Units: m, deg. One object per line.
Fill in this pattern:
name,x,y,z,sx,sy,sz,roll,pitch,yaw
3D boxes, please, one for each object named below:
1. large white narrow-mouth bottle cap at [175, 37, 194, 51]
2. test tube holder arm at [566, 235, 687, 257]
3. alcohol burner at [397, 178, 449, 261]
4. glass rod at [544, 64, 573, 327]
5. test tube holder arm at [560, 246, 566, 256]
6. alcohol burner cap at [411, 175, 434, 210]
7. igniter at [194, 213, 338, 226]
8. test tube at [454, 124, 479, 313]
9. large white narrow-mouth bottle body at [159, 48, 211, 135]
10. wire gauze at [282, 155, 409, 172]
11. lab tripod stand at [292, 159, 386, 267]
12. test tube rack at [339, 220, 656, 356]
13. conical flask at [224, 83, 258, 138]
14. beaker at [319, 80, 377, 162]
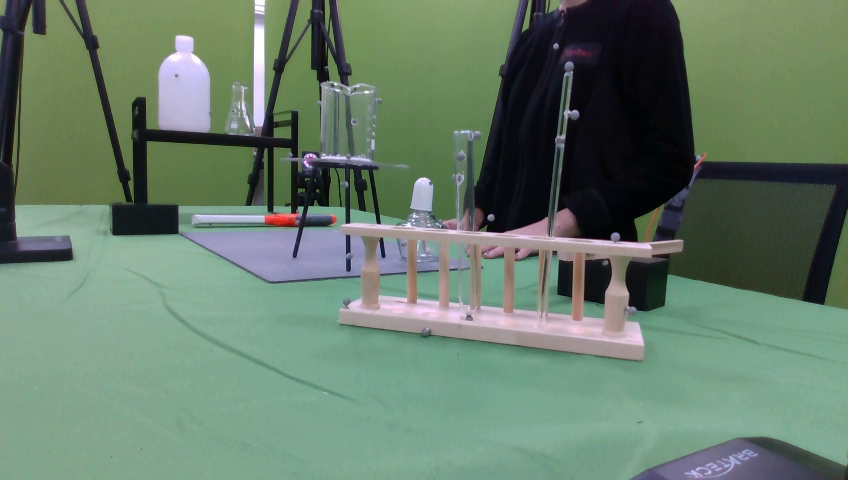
large white narrow-mouth bottle cap,-0.501,-0.409,1.264,0.038,0.024,0.037,2,7,0
test tube holder arm,0.215,0.006,0.630,0.179,0.015,0.013,-3,9,-30
alcohol burner,-0.002,-0.031,0.846,0.078,0.119,0.078,0,6,0
glass rod,0.101,-0.028,0.453,0.008,0.199,0.008,2,14,0
test tube holder arm,0.173,0.007,0.611,0.088,0.015,0.010,-3,9,-30
alcohol burner cap,0.000,-0.067,0.842,0.034,0.048,0.034,8,8,-1
igniter,-0.306,-0.041,1.197,0.278,0.025,0.057,-2,-2,-30
test tube,0.034,-0.015,0.477,0.017,0.150,0.017,-2,9,1
large white narrow-mouth bottle body,-0.503,-0.323,1.275,0.102,0.194,0.102,2,7,0
wire gauze,-0.104,-0.103,0.785,0.126,0.011,0.121,1,8,-39
lab tripod stand,-0.105,-0.039,0.797,0.148,0.131,0.148,2,5,0
test tube rack,0.056,0.032,0.495,0.242,0.085,0.067,4,7,15
conical flask,-0.422,-0.299,1.395,0.075,0.122,0.075,2,7,0
beaker,-0.098,-0.150,0.777,0.074,0.100,0.084,1,7,-8
